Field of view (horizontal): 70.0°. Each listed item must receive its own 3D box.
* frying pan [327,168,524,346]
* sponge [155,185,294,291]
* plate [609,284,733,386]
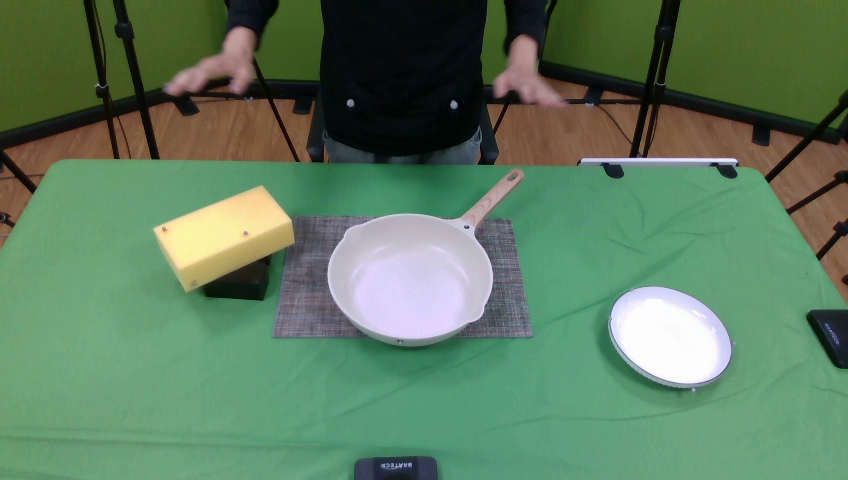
[{"bbox_3d":[0.042,0.009,1.132,0.305,0.103,0.487,34,61,24],"label":"frying pan"},{"bbox_3d":[-0.353,-0.008,1.085,0.207,0.061,0.117,-28,54,-27],"label":"sponge"},{"bbox_3d":[0.425,0.167,1.059,0.208,0.039,0.206,2,46,-2],"label":"plate"}]
